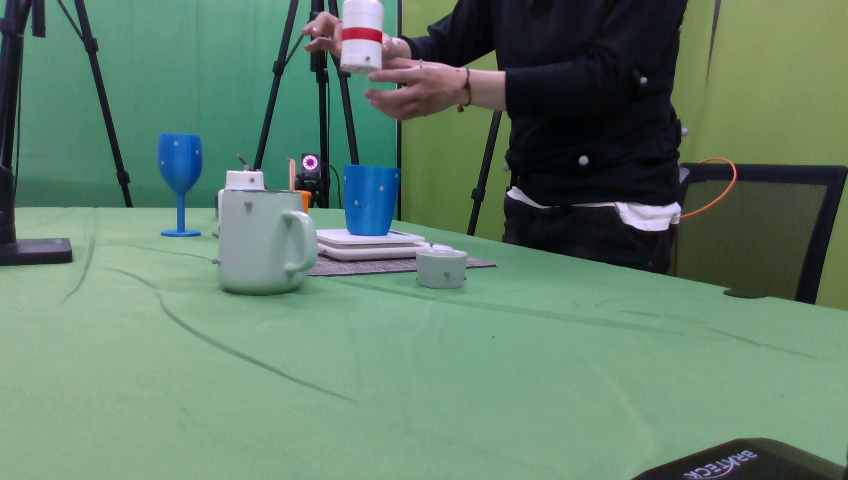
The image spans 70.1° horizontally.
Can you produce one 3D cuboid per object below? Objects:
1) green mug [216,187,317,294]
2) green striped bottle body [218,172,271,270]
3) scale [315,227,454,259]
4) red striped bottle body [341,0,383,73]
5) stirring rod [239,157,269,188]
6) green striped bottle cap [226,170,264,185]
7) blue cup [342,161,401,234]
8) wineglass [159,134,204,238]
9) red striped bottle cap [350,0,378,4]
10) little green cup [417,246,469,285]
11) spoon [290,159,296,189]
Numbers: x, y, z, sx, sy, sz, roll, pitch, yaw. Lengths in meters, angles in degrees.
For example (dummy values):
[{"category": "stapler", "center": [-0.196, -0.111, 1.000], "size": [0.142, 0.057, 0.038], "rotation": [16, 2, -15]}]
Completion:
[{"category": "green mug", "center": [-0.157, 0.000, 0.629], "size": [0.124, 0.105, 0.093], "rotation": [7, 8, 37]}, {"category": "green striped bottle body", "center": [-0.223, -0.025, 0.755], "size": [0.063, 0.119, 0.063], "rotation": [2, 7, 0]}, {"category": "scale", "center": [-0.066, 0.001, 0.906], "size": [0.202, 0.031, 0.148], "rotation": [-2, 8, -31]}, {"category": "red striped bottle body", "center": [-0.094, -0.320, 0.918], "size": [0.063, 0.119, 0.063], "rotation": [2, 3, 0]}, {"category": "stirring rod", "center": [-0.309, -0.098, 1.209], "size": [0.006, 0.177, 0.014], "rotation": [-39, 30, -4]}, {"category": "green striped bottle cap", "center": [-0.222, -0.077, 0.748], "size": [0.044, 0.020, 0.044], "rotation": [1, 7, 0]}, {"category": "blue cup", "center": [-0.079, -0.061, 0.882], "size": [0.093, 0.100, 0.092], "rotation": [4, 6, 0]}, {"category": "wineglass", "center": [-0.415, -0.093, 1.040], "size": [0.074, 0.172, 0.073], "rotation": [2, 7, 0]}, {"category": "red striped bottle cap", "center": [-0.092, -0.373, 0.915], "size": [0.044, 0.017, 0.044], "rotation": [0, 3, 0]}, {"category": "little green cup", "center": [0.021, 0.029, 0.701], "size": [0.061, 0.038, 0.061], "rotation": [1, 6, 0]}, {"category": "spoon", "center": [-0.273, -0.102, 1.252], "size": [0.042, 0.193, 0.021], "rotation": [6, -38, -16]}]
